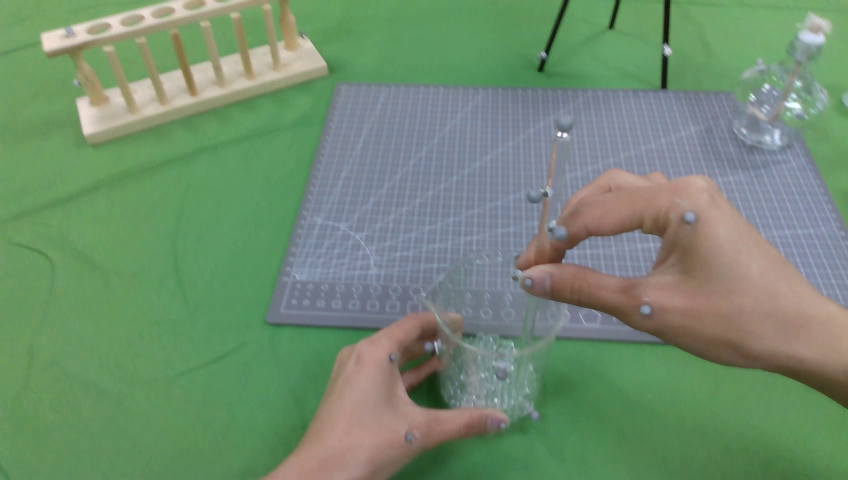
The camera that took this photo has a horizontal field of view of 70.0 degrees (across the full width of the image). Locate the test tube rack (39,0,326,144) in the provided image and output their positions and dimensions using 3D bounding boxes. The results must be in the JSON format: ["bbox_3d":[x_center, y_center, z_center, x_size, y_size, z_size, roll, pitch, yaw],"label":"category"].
[{"bbox_3d":[-0.227,-0.183,0.598,0.243,0.086,0.066,-22,53,-16],"label":"test tube rack"}]

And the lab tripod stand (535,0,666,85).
[{"bbox_3d":[0.191,-0.238,0.601,0.148,0.132,0.147,0,50,0],"label":"lab tripod stand"}]

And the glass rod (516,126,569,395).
[{"bbox_3d":[0.054,0.027,0.293,0.008,0.201,0.008,-2,48,2],"label":"glass rod"}]

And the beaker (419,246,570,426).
[{"bbox_3d":[0.040,0.063,0.373,0.084,0.101,0.073,5,50,5],"label":"beaker"}]

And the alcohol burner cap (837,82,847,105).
[{"bbox_3d":[0.427,-0.155,0.583,0.034,0.048,0.033,0,49,1],"label":"alcohol burner cap"}]

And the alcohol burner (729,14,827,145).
[{"bbox_3d":[0.313,-0.142,0.524,0.078,0.120,0.077,0,52,1],"label":"alcohol burner"}]
